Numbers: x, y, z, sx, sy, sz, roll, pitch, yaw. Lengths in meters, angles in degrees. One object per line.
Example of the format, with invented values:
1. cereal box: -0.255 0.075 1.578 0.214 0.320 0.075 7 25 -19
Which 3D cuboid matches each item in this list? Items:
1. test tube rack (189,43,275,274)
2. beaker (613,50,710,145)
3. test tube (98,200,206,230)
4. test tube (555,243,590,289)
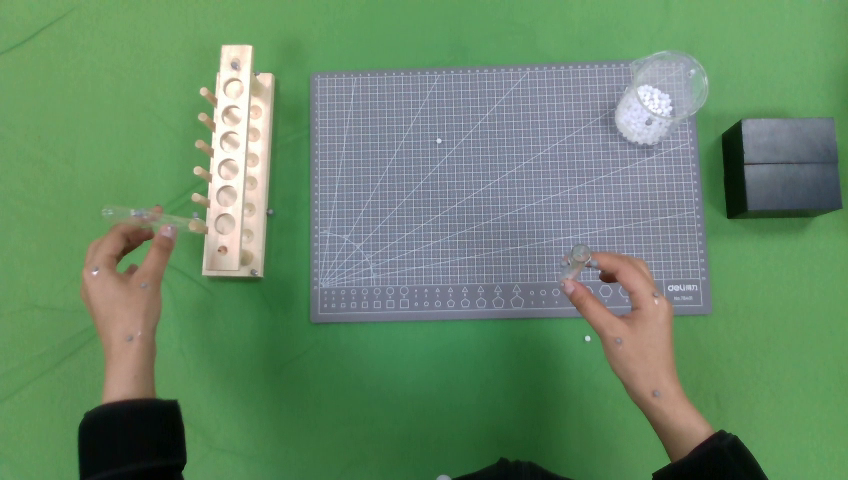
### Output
1. test tube rack: -0.217 -0.086 0.675 0.067 0.085 0.241 1 82 2
2. beaker: 0.249 -0.151 0.658 0.084 0.100 0.074 36 85 8
3. test tube: -0.251 -0.022 0.571 0.017 0.151 0.017 0 87 10
4. test tube: 0.129 0.026 0.535 0.017 0.151 0.017 -2 77 7
